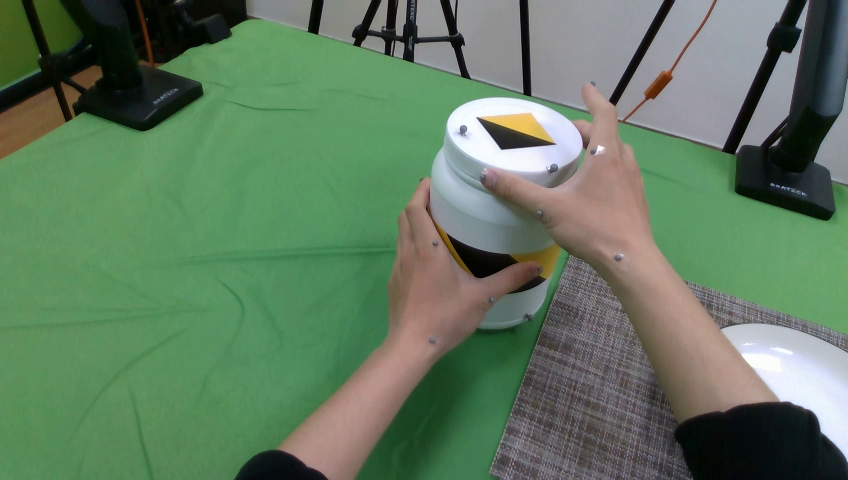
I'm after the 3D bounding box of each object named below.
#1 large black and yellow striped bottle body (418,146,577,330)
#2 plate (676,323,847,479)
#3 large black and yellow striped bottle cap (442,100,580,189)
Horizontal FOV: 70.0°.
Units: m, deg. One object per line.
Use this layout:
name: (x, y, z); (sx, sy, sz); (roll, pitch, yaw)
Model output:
large black and yellow striped bottle body: (0.066, -0.020, 0.563); (0.131, 0.185, 0.129); (4, 42, -3)
plate: (0.312, 0.160, 0.504); (0.208, 0.039, 0.205); (4, 42, -4)
large black and yellow striped bottle cap: (0.072, -0.083, 0.506); (0.115, 0.019, 0.114); (5, 41, -4)
